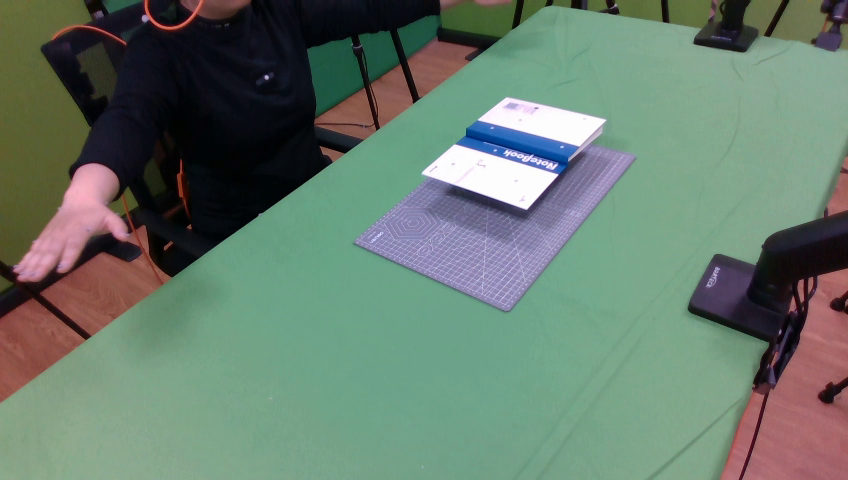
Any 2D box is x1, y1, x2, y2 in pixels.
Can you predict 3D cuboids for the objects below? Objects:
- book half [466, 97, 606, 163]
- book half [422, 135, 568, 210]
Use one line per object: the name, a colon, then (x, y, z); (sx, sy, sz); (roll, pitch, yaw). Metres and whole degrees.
book half: (0.203, -0.207, 1.105); (0.208, 0.016, 0.149); (22, 47, 31)
book half: (0.119, -0.121, 1.027); (0.208, 0.007, 0.143); (22, 49, 30)
